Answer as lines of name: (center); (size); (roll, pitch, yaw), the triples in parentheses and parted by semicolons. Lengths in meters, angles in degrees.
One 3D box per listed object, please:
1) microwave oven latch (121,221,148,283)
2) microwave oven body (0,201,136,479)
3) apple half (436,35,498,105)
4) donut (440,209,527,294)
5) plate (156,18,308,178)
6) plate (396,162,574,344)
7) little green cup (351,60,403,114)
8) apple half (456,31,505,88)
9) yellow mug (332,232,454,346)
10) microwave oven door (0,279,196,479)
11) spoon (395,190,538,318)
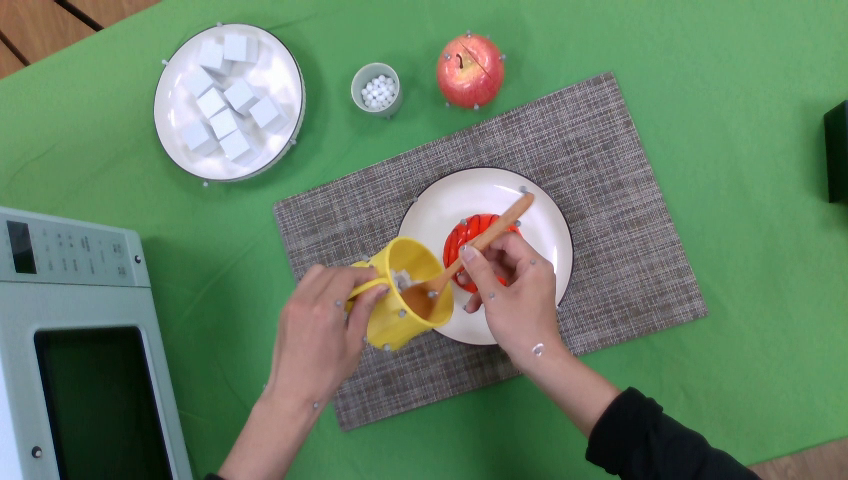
microwave oven latch: (-0.381, 0.017, 0.780); (0.030, 0.029, 0.079); (-14, 83, 9)
microwave oven body: (-0.493, 0.219, 0.688); (0.326, 0.261, 0.440); (-17, 83, 9)
apple half: (0.044, -0.191, 0.713); (0.053, 0.075, 0.080); (-41, 82, 10)
donut: (0.068, 0.013, 0.694); (0.099, 0.048, 0.099); (-1, 87, 12)
plate: (-0.245, -0.181, 0.788); (0.207, 0.039, 0.207); (-1, 85, 11)
plate: (0.068, 0.015, 0.706); (0.209, 0.038, 0.208); (-1, 85, 11)
little green cup: (-0.055, -0.187, 0.750); (0.061, 0.039, 0.061); (-1, 85, 12)
apple half: (0.073, -0.217, 0.708); (0.033, 0.081, 0.081); (-41, 79, 9)
yellow mug: (-0.035, 0.049, 0.598); (0.064, 0.131, 0.099); (-31, 71, 32)
microwave oven door: (-0.345, 0.217, 0.653); (0.039, 0.245, 0.354); (-17, 82, 10)
spoon: (0.033, 0.020, 0.569); (0.194, 0.022, 0.041); (-43, 73, 24)
